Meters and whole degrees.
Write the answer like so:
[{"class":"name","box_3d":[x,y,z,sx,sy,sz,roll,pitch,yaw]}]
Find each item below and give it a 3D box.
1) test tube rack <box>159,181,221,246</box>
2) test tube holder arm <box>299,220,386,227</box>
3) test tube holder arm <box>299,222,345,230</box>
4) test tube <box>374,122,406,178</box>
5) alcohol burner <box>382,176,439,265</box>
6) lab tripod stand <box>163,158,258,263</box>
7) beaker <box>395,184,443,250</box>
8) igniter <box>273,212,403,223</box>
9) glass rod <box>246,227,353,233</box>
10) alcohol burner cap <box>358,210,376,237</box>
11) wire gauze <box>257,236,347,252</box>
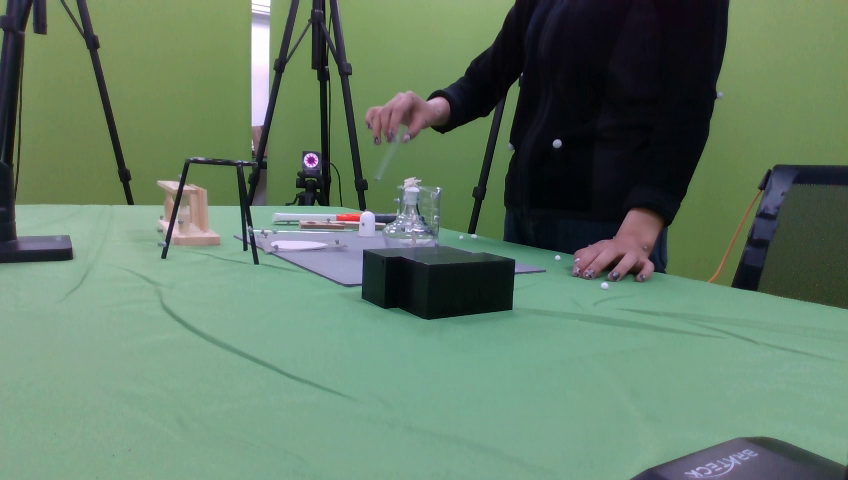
[{"class":"test tube rack","box_3d":[-0.395,-0.050,1.010,0.067,0.085,0.241,-2,8,-28]},{"class":"test tube holder arm","box_3d":[-0.159,-0.032,1.195,0.179,0.015,0.013,-1,44,-29]},{"class":"test tube holder arm","box_3d":[-0.196,-0.027,1.170,0.088,0.015,0.010,-1,44,-28]},{"class":"test tube","box_3d":[-0.061,-0.150,1.032,0.017,0.017,0.150,-1,-28,-23]},{"class":"alcohol burner","box_3d":[-0.018,-0.027,0.818,0.078,0.119,0.078,3,9,0]},{"class":"lab tripod stand","box_3d":[-0.265,-0.041,0.802,0.148,0.131,0.148,4,7,0]},{"class":"beaker","box_3d":[-0.007,-0.037,0.964,0.074,0.100,0.083,-4,11,-40]},{"class":"igniter","box_3d":[-0.179,-0.048,1.290,0.278,0.025,0.057,-1,-2,-24]},{"class":"glass rod","box_3d":[-0.224,-0.017,1.109,0.201,0.008,0.008,1,7,-27]},{"class":"alcohol burner cap","box_3d":[-0.104,-0.030,1.098,0.034,0.048,0.034,2,7,0]},{"class":"wire gauze","box_3d":[-0.189,0.005,0.931,0.122,0.011,0.124,1,7,-21]}]
